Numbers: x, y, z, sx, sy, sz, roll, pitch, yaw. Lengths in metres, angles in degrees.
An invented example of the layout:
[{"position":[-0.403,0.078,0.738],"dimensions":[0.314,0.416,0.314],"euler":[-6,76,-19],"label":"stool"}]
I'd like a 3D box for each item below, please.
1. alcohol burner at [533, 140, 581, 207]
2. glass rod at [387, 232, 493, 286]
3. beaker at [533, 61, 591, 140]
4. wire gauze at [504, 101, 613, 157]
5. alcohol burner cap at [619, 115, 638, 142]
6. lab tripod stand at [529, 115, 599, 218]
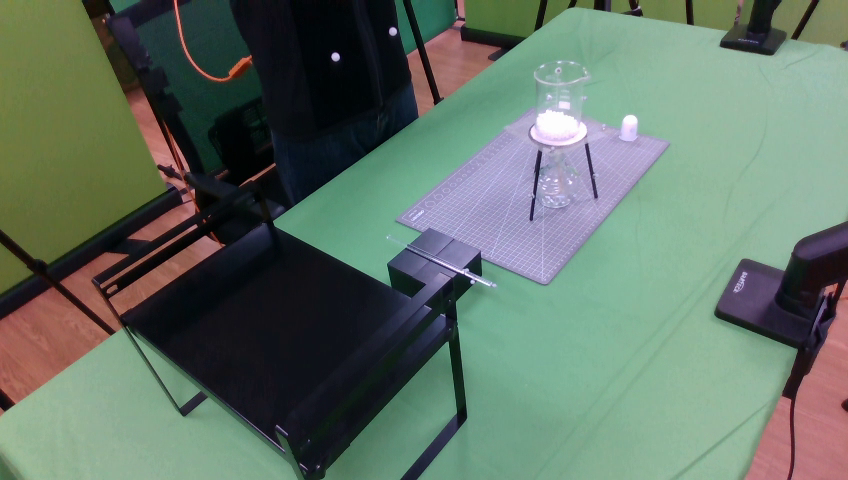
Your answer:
[{"position":[0.220,-0.114,0.999],"dimensions":[0.078,0.119,0.077],"euler":[-5,42,5],"label":"alcohol burner"},{"position":[0.018,0.026,0.878],"dimensions":[0.198,0.008,0.008],"euler":[25,50,33],"label":"glass rod"},{"position":[0.208,-0.210,0.922],"dimensions":[0.083,0.101,0.074],"euler":[5,44,14],"label":"beaker"},{"position":[0.211,-0.175,0.956],"dimensions":[0.125,0.011,0.120],"euler":[-26,43,-17],"label":"wire gauze"},{"position":[0.389,-0.214,1.145],"dimensions":[0.034,0.048,0.033],"euler":[-3,40,3],"label":"alcohol burner cap"},{"position":[0.217,-0.123,0.995],"dimensions":[0.148,0.132,0.147],"euler":[-4,43,4],"label":"lab tripod stand"}]
